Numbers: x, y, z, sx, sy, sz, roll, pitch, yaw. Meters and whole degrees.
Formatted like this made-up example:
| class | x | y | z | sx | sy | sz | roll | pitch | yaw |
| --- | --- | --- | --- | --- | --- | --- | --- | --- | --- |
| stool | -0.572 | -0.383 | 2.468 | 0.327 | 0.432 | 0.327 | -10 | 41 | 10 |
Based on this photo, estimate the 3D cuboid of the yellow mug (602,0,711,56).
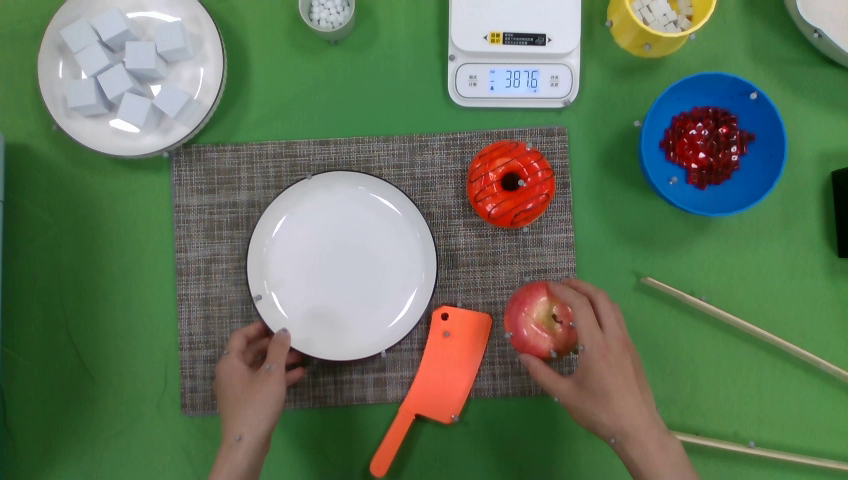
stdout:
| class | x | y | z | sx | sy | sz | roll | pitch | yaw |
| --- | --- | --- | --- | --- | --- | --- | --- | --- | --- |
| yellow mug | 0.246 | -0.276 | 0.668 | 0.100 | 0.064 | 0.130 | -36 | 87 | -1 |

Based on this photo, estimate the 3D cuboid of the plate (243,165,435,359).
| class | x | y | z | sx | sy | sz | roll | pitch | yaw |
| --- | --- | --- | --- | --- | --- | --- | --- | --- | --- |
| plate | -0.091 | 0.024 | 0.666 | 0.209 | 0.038 | 0.209 | 0 | 88 | 0 |

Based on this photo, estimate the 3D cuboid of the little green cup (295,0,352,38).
| class | x | y | z | sx | sy | sz | roll | pitch | yaw |
| --- | --- | --- | --- | --- | --- | --- | --- | --- | --- |
| little green cup | -0.110 | -0.260 | 0.681 | 0.061 | 0.038 | 0.061 | 0 | 87 | 1 |

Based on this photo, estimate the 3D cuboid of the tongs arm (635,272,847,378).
| class | x | y | z | sx | sy | sz | roll | pitch | yaw |
| --- | --- | --- | --- | --- | --- | --- | --- | --- | --- |
| tongs arm | 0.409 | 0.128 | 0.669 | 0.387 | 0.028 | 0.028 | 27 | 80 | 1 |

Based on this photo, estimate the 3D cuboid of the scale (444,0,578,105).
| class | x | y | z | sx | sy | sz | roll | pitch | yaw |
| --- | --- | --- | --- | --- | --- | --- | --- | --- | --- |
| scale | 0.099 | -0.255 | 0.684 | 0.149 | 0.031 | 0.200 | 1 | 88 | 1 |

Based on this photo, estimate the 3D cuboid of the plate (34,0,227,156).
| class | x | y | z | sx | sy | sz | roll | pitch | yaw |
| --- | --- | --- | --- | --- | --- | --- | --- | --- | --- |
| plate | -0.321 | -0.195 | 0.678 | 0.208 | 0.039 | 0.207 | 0 | 88 | 0 |

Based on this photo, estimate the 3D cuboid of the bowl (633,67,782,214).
| class | x | y | z | sx | sy | sz | roll | pitch | yaw |
| --- | --- | --- | --- | --- | --- | --- | --- | --- | --- |
| bowl | 0.291 | -0.100 | 0.655 | 0.151 | 0.077 | 0.151 | 0 | 88 | 0 |

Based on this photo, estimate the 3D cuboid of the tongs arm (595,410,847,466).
| class | x | y | z | sx | sy | sz | roll | pitch | yaw |
| --- | --- | --- | --- | --- | --- | --- | --- | --- | --- |
| tongs arm | 0.382 | 0.210 | 0.663 | 0.385 | 0.026 | 0.050 | 12 | 84 | 0 |

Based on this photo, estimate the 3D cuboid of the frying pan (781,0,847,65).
| class | x | y | z | sx | sy | sz | roll | pitch | yaw |
| --- | --- | --- | --- | --- | --- | --- | --- | --- | --- |
| frying pan | 0.574 | -0.228 | 0.647 | 0.307 | 0.103 | 0.485 | -30 | 80 | 0 |

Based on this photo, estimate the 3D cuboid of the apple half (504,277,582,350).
| class | x | y | z | sx | sy | sz | roll | pitch | yaw |
| --- | --- | --- | --- | --- | --- | --- | --- | --- | --- |
| apple half | 0.127 | 0.068 | 0.617 | 0.080 | 0.075 | 0.053 | 39 | 81 | 7 |

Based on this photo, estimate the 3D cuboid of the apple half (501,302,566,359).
| class | x | y | z | sx | sy | sz | roll | pitch | yaw |
| --- | --- | --- | --- | --- | --- | --- | --- | --- | --- |
| apple half | 0.103 | 0.098 | 0.612 | 0.081 | 0.081 | 0.033 | 40 | 81 | 2 |

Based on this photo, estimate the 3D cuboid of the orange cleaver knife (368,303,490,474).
| class | x | y | z | sx | sy | sz | roll | pitch | yaw |
| --- | --- | --- | --- | --- | --- | --- | --- | --- | --- |
| orange cleaver knife | 0.006 | 0.166 | 0.669 | 0.077 | 0.012 | 0.211 | 26 | 86 | -4 |

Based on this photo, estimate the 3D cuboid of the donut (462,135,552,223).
| class | x | y | z | sx | sy | sz | roll | pitch | yaw |
| --- | --- | --- | --- | --- | --- | --- | --- | --- | --- |
| donut | 0.090 | -0.067 | 0.666 | 0.099 | 0.048 | 0.099 | 0 | 88 | 2 |
